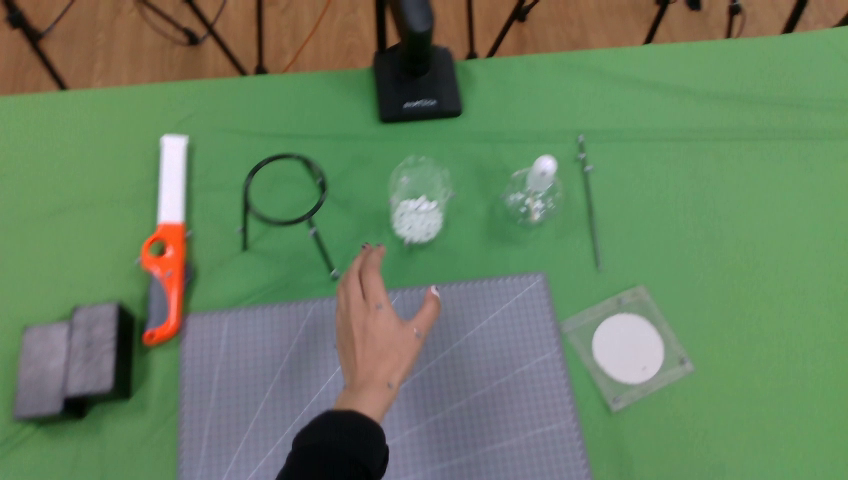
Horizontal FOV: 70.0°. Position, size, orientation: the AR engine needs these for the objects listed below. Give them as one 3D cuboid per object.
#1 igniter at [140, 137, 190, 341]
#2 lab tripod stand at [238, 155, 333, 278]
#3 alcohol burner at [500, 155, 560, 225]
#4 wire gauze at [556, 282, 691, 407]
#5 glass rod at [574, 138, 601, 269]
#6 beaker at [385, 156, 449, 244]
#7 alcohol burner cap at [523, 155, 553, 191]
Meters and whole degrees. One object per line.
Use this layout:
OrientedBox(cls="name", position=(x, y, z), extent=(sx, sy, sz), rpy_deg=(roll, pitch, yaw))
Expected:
OrientedBox(cls="igniter", position=(-0.321, -0.008, 0.755), extent=(0.057, 0.025, 0.274), rpy_deg=(1, 65, -20))
OrientedBox(cls="lab tripod stand", position=(-0.160, -0.033, 0.718), extent=(0.148, 0.132, 0.147), rpy_deg=(1, 64, -2))
OrientedBox(cls="alcohol burner", position=(0.137, -0.069, 0.764), extent=(0.078, 0.120, 0.077), rpy_deg=(1, 64, -3))
OrientedBox(cls="wire gauze", position=(0.245, 0.126, 0.743), extent=(0.125, 0.011, 0.120), rpy_deg=(-24, 70, -11))
OrientedBox(cls="glass rod", position=(0.220, -0.054, 0.820), extent=(0.008, 0.008, 0.198), rpy_deg=(-1, 67, -4))
OrientedBox(cls="beaker", position=(-0.012, -0.047, 0.753), extent=(0.074, 0.101, 0.083), rpy_deg=(-15, 67, -10))
OrientedBox(cls="alcohol burner cap", position=(0.140, -0.083, 0.731), extent=(0.034, 0.048, 0.033), rpy_deg=(1, 71, -2))
